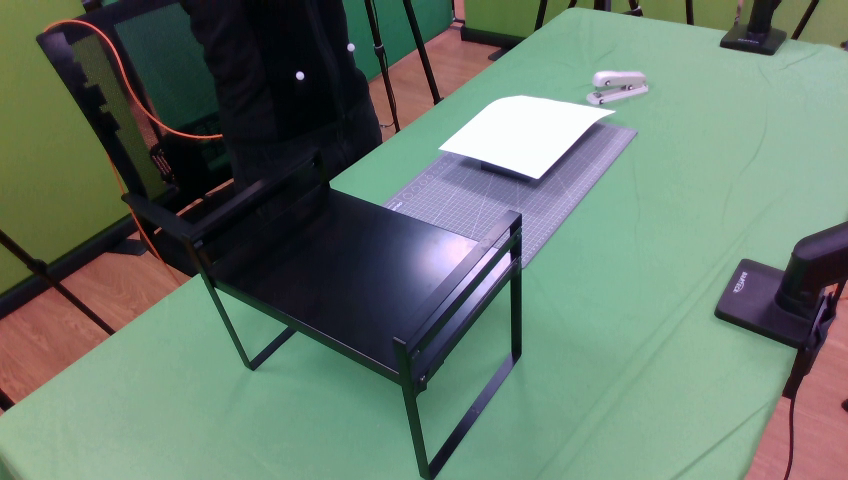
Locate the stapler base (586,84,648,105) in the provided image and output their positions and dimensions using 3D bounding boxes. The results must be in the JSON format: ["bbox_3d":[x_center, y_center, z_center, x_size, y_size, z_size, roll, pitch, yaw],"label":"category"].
[{"bbox_3d":[0.410,-0.317,1.285,0.131,0.024,0.041,-15,43,-11],"label":"stapler base"}]

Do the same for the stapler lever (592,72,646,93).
[{"bbox_3d":[0.409,-0.337,1.269,0.118,0.040,0.026,-15,43,-11],"label":"stapler lever"}]
